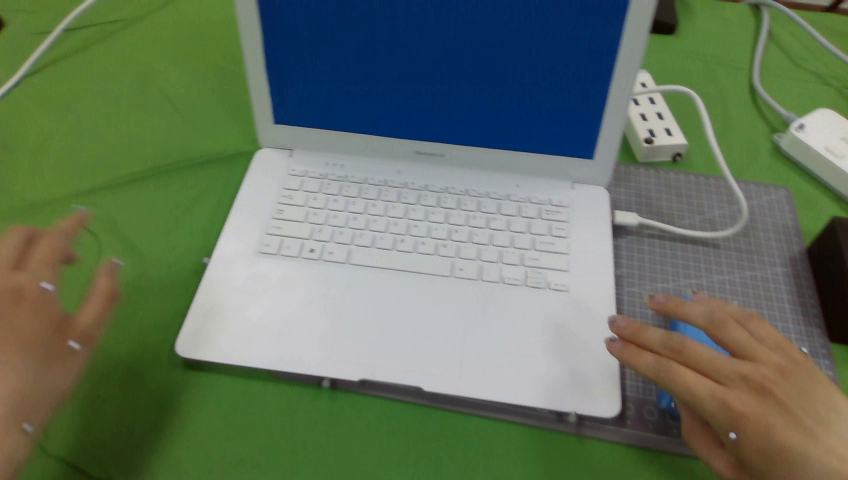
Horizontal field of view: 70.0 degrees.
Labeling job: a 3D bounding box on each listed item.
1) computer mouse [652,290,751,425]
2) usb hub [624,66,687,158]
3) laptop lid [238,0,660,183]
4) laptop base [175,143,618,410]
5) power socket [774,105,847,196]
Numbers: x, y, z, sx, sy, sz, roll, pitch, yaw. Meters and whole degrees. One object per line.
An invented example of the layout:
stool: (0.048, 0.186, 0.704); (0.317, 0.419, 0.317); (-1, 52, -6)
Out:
computer mouse: (0.222, 0.087, 0.480); (0.062, 0.041, 0.116); (18, 50, 15)
usb hub: (0.240, -0.143, 0.666); (0.049, 0.025, 0.124); (-5, 53, -5)
laptop lid: (0.011, -0.165, 0.534); (0.356, 0.244, 0.013); (6, 40, 5)
laptop base: (-0.011, 0.020, 0.540); (0.354, 0.023, 0.233); (7, 56, 4)
power socket: (0.462, -0.058, 0.603); (0.072, 0.033, 0.224); (-25, 57, -20)
